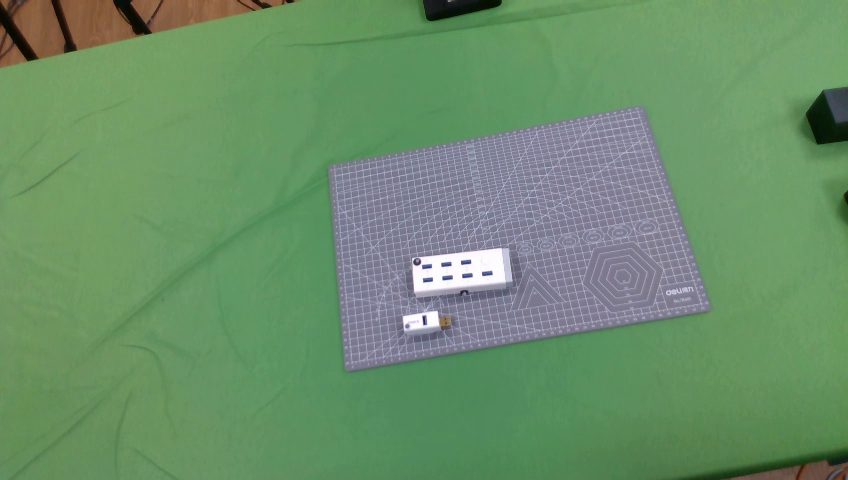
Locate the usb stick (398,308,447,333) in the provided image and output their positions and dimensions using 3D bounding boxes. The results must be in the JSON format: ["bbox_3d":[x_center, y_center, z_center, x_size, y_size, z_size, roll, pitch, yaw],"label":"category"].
[{"bbox_3d":[-0.002,0.099,0.748,0.059,0.027,0.021,-8,67,2],"label":"usb stick"}]

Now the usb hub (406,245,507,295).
[{"bbox_3d":[0.040,0.038,0.768,0.125,0.025,0.049,-6,67,4],"label":"usb hub"}]
